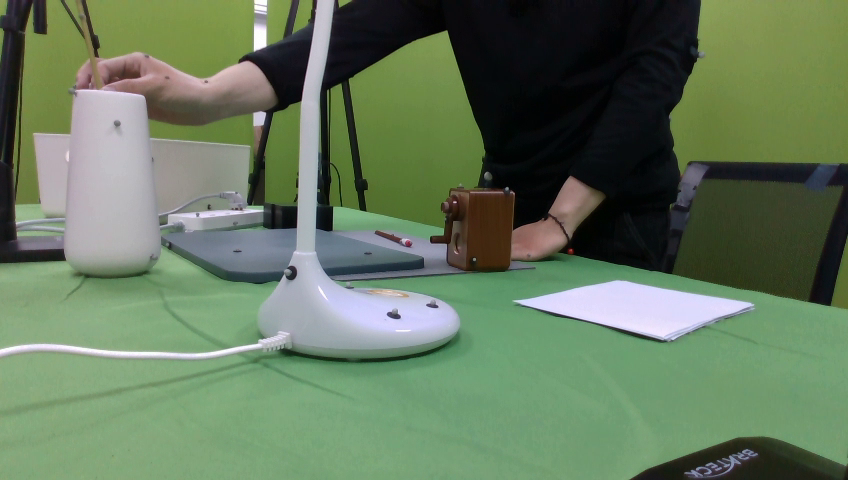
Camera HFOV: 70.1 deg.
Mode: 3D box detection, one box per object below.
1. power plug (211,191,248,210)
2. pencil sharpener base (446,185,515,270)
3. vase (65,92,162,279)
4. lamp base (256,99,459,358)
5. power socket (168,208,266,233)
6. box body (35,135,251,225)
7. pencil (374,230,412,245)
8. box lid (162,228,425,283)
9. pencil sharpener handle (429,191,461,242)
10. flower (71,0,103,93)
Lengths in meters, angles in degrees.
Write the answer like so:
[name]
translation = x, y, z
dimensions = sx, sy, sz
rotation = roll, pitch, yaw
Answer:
[power plug]
translation = -0.384, -0.071, 1.205
dimensions = 0.072, 0.052, 0.035
rotation = 1, 8, 28
[pencil sharpener base]
translation = 0.071, -0.018, 0.802
dimensions = 0.077, 0.107, 0.061
rotation = -2, 9, -25
[vase]
translation = -0.347, -0.060, 0.673
dimensions = 0.098, 0.200, 0.098
rotation = 1, 7, 0
[lamp base]
translation = -0.055, -0.013, 0.463
dimensions = 0.160, 0.180, 0.180
rotation = 6, 11, 27
[power socket]
translation = -0.379, -0.038, 1.129
dimensions = 0.072, 0.032, 0.227
rotation = 4, 8, 18
[box body]
translation = -0.559, -0.127, 1.257
dimensions = 0.253, 0.160, 0.365
rotation = 4, 8, 15
[pencil]
translation = -0.059, -0.007, 1.061
dimensions = 0.012, 0.012, 0.193
rotation = -1, 6, -22
[box lid]
translation = -0.200, 0.014, 0.861
dimensions = 0.265, 0.015, 0.369
rotation = -3, 9, -35
[pencil sharpener handle]
translation = 0.025, -0.029, 0.780
dimensions = 0.031, 0.067, 0.036
rotation = -2, 16, -25
[flower]
translation = -0.351, -0.145, 0.666
dimensions = 0.038, 0.361, 0.044
rotation = -17, 9, -28
